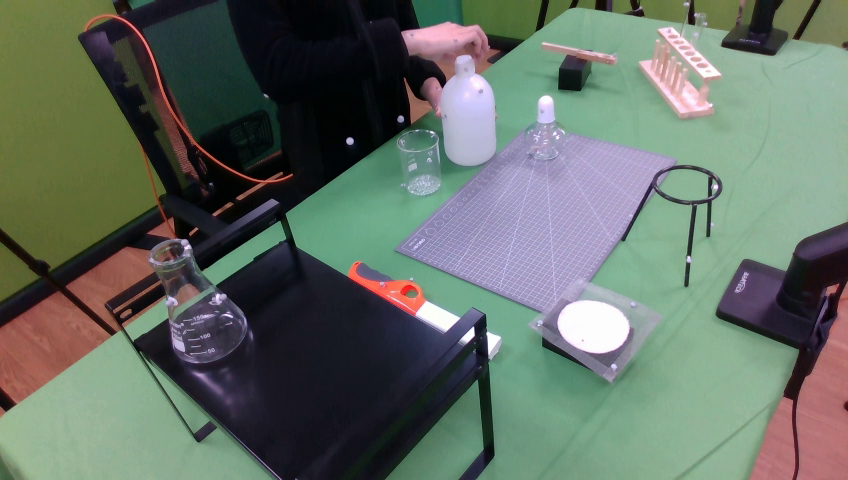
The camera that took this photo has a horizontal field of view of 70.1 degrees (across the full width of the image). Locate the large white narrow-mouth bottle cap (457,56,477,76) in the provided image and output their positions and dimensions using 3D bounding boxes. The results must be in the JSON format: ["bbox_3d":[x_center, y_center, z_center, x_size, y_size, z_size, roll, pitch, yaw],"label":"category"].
[{"bbox_3d":[0.076,-0.306,1.065,0.038,0.024,0.037,-4,40,4],"label":"large white narrow-mouth bottle cap"}]

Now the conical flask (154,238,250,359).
[{"bbox_3d":[-0.225,0.055,0.597,0.075,0.122,0.075,-5,41,4],"label":"conical flask"}]

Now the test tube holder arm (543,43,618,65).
[{"bbox_3d":[0.344,-0.413,1.340,0.177,0.015,0.013,25,51,31],"label":"test tube holder arm"}]

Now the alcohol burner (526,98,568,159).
[{"bbox_3d":[0.228,-0.210,1.118,0.078,0.119,0.077,-5,43,5],"label":"alcohol burner"}]

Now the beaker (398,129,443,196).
[{"bbox_3d":[-0.002,-0.139,1.087,0.073,0.101,0.084,28,51,35],"label":"beaker"}]

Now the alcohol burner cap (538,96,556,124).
[{"bbox_3d":[0.222,-0.237,1.095,0.034,0.048,0.033,-7,35,5],"label":"alcohol burner cap"}]

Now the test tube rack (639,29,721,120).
[{"bbox_3d":[0.527,-0.351,1.262,0.067,0.085,0.241,-8,40,1],"label":"test tube rack"}]

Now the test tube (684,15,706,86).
[{"bbox_3d":[0.541,-0.378,1.215,0.017,0.151,0.017,-2,44,3],"label":"test tube"}]

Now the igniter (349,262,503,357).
[{"bbox_3d":[-0.008,0.093,0.870,0.274,0.025,0.057,24,60,33],"label":"igniter"}]

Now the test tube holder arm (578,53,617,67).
[{"bbox_3d":[0.376,-0.393,1.314,0.087,0.015,0.010,26,51,32],"label":"test tube holder arm"}]

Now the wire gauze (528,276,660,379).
[{"bbox_3d":[0.213,0.103,0.763,0.124,0.011,0.122,30,52,35],"label":"wire gauze"}]

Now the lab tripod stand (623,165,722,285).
[{"bbox_3d":[0.365,-0.030,0.874,0.148,0.132,0.147,-6,41,6],"label":"lab tripod stand"}]

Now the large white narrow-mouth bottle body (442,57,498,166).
[{"bbox_3d":[0.084,-0.242,1.121,0.102,0.195,0.101,-4,40,4],"label":"large white narrow-mouth bottle body"}]

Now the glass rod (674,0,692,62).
[{"bbox_3d":[0.537,-0.437,1.257,0.008,0.200,0.008,0,39,1],"label":"glass rod"}]
